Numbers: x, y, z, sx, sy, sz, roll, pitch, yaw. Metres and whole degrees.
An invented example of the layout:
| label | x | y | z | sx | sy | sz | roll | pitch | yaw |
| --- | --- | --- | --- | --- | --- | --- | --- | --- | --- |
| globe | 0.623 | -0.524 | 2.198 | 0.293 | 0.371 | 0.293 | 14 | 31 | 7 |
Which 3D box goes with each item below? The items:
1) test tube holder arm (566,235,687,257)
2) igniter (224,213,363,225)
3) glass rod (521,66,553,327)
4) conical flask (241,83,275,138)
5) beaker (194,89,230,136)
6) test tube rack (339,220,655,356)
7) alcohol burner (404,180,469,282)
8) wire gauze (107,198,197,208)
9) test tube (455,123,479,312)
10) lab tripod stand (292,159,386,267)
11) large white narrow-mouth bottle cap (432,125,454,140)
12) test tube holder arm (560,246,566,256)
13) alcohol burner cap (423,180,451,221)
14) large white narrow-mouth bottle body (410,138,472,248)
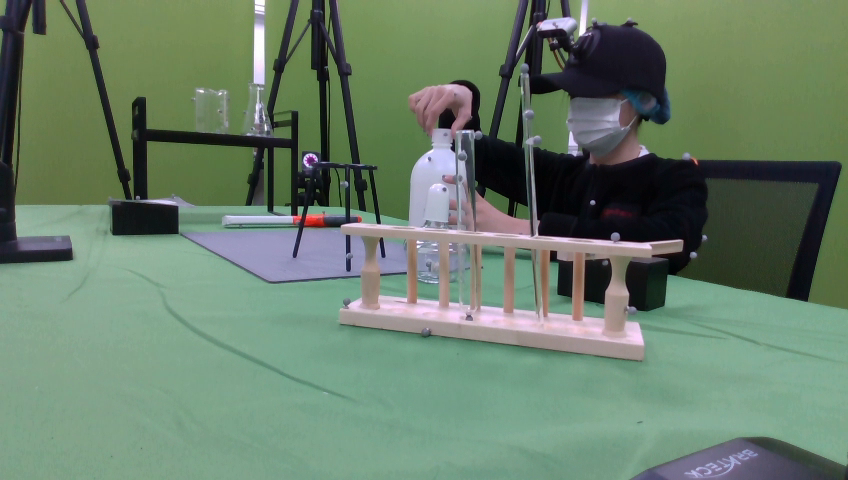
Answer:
| label | x | y | z | sx | sy | sz | roll | pitch | yaw |
| --- | --- | --- | --- | --- | --- | --- | --- | --- | --- |
| test tube holder arm | 0.215 | 0.006 | 0.630 | 0.179 | 0.015 | 0.013 | -3 | 9 | -30 |
| igniter | -0.255 | -0.041 | 1.210 | 0.278 | 0.025 | 0.057 | -2 | -3 | -31 |
| glass rod | 0.085 | -0.028 | 0.454 | 0.008 | 0.199 | 0.008 | -7 | 10 | 2 |
| conical flask | -0.383 | -0.297 | 1.392 | 0.075 | 0.122 | 0.075 | 2 | 7 | 0 |
| beaker | -0.472 | -0.283 | 1.352 | 0.074 | 0.100 | 0.083 | -4 | 10 | -35 |
| test tube rack | 0.056 | 0.032 | 0.495 | 0.242 | 0.085 | 0.067 | 4 | 7 | 15 |
| alcohol burner | 0.015 | -0.011 | 0.715 | 0.078 | 0.119 | 0.078 | 0 | 7 | 0 |
| wire gauze | -0.462 | -0.064 | 1.023 | 0.126 | 0.011 | 0.121 | -2 | 7 | -32 |
| test tube | 0.034 | -0.016 | 0.476 | 0.017 | 0.150 | 0.017 | -2 | 10 | 1 |
| lab tripod stand | -0.105 | -0.039 | 0.798 | 0.148 | 0.131 | 0.148 | 2 | 5 | 0 |
| large white narrow-mouth bottle cap | 0.032 | -0.176 | 0.991 | 0.038 | 0.024 | 0.037 | 2 | 8 | 0 |
| test tube holder arm | 0.173 | 0.007 | 0.611 | 0.088 | 0.015 | 0.010 | -3 | 9 | -30 |
| alcohol burner cap | 0.017 | -0.047 | 0.711 | 0.034 | 0.048 | 0.034 | 8 | 5 | 0 |
| large white narrow-mouth bottle body | 0.029 | -0.088 | 1.005 | 0.102 | 0.194 | 0.102 | 2 | 8 | 0 |
